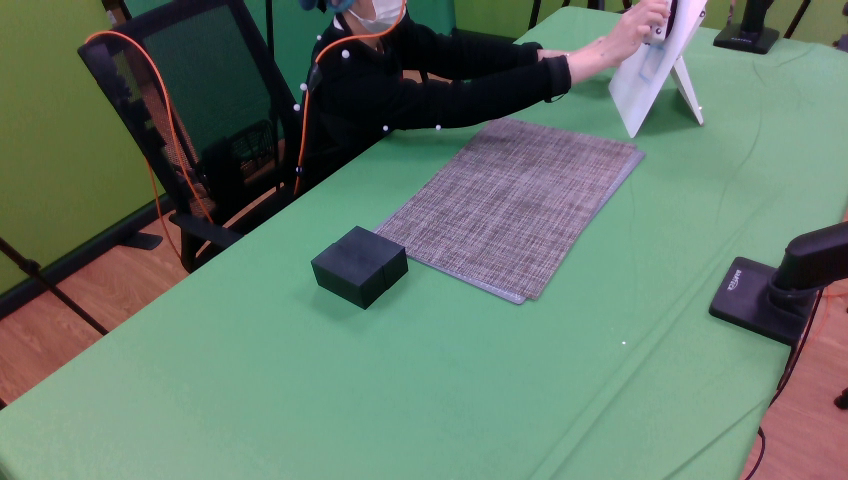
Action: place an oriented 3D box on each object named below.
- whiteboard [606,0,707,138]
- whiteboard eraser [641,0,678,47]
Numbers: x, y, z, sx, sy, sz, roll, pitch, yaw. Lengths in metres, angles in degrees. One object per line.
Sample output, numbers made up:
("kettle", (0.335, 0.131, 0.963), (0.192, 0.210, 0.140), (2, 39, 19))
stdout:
("whiteboard", (0.496, -0.358, 1.147), (0.144, 0.305, 0.216), (11, 40, -7))
("whiteboard eraser", (0.425, -0.408, 1.084), (0.042, 0.112, 0.055), (9, 5, -8))
